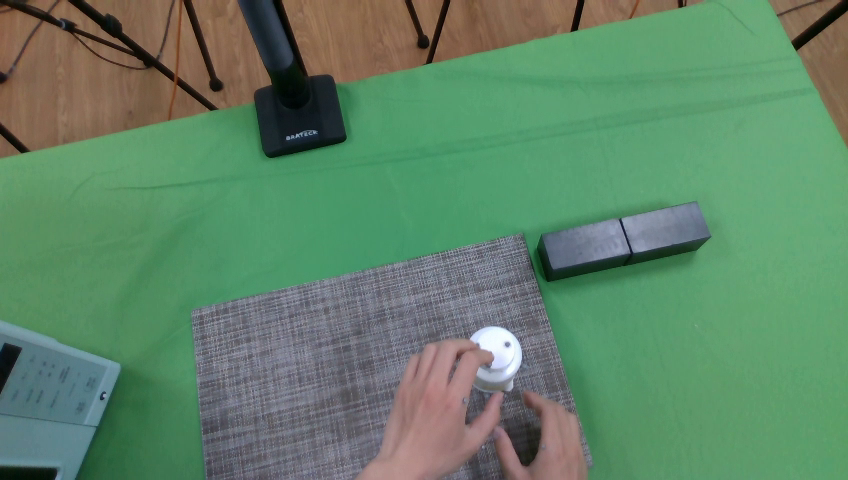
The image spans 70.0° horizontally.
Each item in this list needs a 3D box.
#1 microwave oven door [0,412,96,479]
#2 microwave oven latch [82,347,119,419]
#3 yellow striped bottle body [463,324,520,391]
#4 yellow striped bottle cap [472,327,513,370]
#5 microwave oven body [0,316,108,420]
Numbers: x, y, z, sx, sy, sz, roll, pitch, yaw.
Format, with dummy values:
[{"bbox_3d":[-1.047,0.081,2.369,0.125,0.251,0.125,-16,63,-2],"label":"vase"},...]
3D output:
[{"bbox_3d":[-0.464,0.337,0.570,0.039,0.245,0.354,13,71,8],"label":"microwave oven door"},{"bbox_3d":[-0.401,0.174,0.735,0.030,0.030,0.079,15,72,8],"label":"microwave oven latch"},{"bbox_3d":[0.076,0.134,0.698,0.063,0.121,0.062,-1,69,3],"label":"yellow striped bottle body"},{"bbox_3d":[0.074,0.116,0.649,0.044,0.019,0.044,-1,71,4],"label":"yellow striped bottle cap"},{"bbox_3d":[-0.594,0.268,0.607,0.325,0.262,0.439,13,72,7],"label":"microwave oven body"}]
